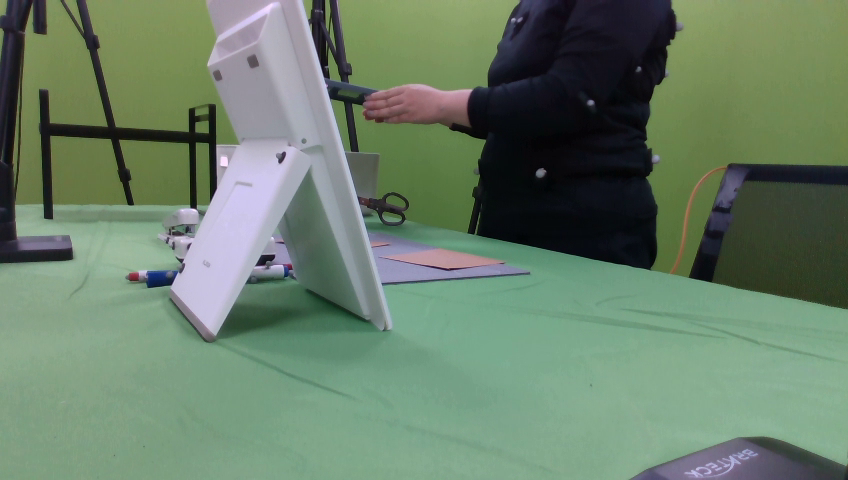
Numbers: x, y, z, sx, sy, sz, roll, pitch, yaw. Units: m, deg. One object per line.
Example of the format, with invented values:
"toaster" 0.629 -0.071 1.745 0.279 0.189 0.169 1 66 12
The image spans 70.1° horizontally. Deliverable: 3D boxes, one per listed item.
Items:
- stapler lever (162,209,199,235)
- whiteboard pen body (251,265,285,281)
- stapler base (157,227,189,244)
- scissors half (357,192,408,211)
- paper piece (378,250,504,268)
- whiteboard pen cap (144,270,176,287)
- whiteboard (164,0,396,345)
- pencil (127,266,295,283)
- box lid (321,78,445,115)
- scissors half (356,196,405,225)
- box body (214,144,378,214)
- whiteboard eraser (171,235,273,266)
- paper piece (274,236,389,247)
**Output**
"stapler lever" -0.376 -0.031 0.933 0.027 0.040 0.117 1 6 -38
"whiteboard pen body" -0.220 0.039 0.656 0.141 0.017 0.017 -2 9 -31
"stapler base" -0.376 -0.007 0.935 0.041 0.024 0.130 1 5 -38
"scissors half" -0.122 -0.090 1.316 0.175 0.040 0.013 6 18 0
"paper piece" 0.025 0.026 0.865 0.134 0.004 0.136 9 9 43
"whiteboard pen cap" -0.271 0.039 0.627 0.033 0.018 0.018 -3 10 -32
"whiteboard" -0.173 -0.053 0.511 0.144 0.305 0.216 -23 19 -26
"pencil" -0.231 0.037 0.690 0.195 0.012 0.012 -2 9 -34
"box lid" -0.163 -0.308 1.278 0.373 0.015 0.262 7 6 -21
"scissors half" -0.126 -0.072 1.322 0.175 0.040 0.013 21 12 -3
"box body" -0.328 -0.154 1.543 0.366 0.160 0.253 -2 9 -32
"whiteboard eraser" -0.248 0.014 0.747 0.113 0.042 0.055 -1 10 -32
"paper piece" -0.150 0.003 0.978 0.135 0.008 0.139 13 10 35
